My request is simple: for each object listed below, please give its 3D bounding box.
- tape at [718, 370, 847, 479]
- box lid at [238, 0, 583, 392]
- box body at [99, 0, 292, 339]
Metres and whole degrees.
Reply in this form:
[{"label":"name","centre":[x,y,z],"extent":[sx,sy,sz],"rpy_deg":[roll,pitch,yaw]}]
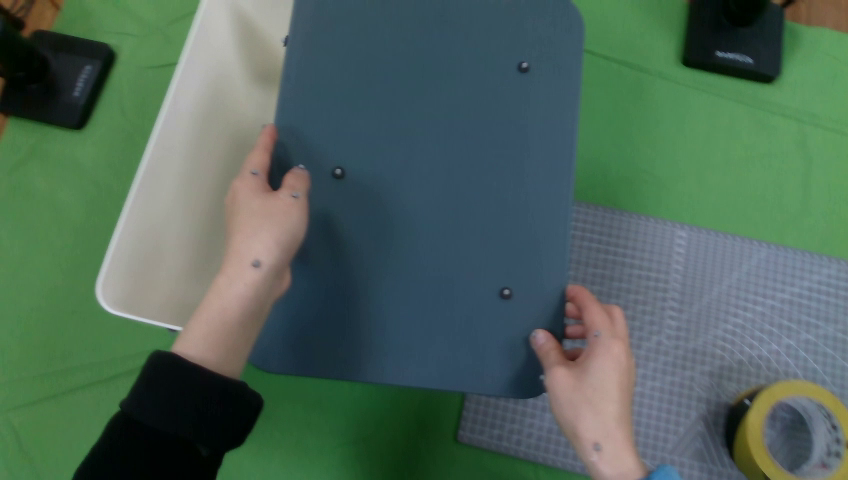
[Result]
[{"label":"tape","centre":[0.370,0.192,0.620],"extent":[0.117,0.053,0.116],"rpy_deg":[0,74,2]},{"label":"box lid","centre":[0.001,-0.069,0.517],"extent":[0.264,0.015,0.370],"rpy_deg":[7,79,-7]},{"label":"box body","centre":[-0.131,-0.066,0.646],"extent":[0.254,0.161,0.362],"rpy_deg":[12,74,4]}]
